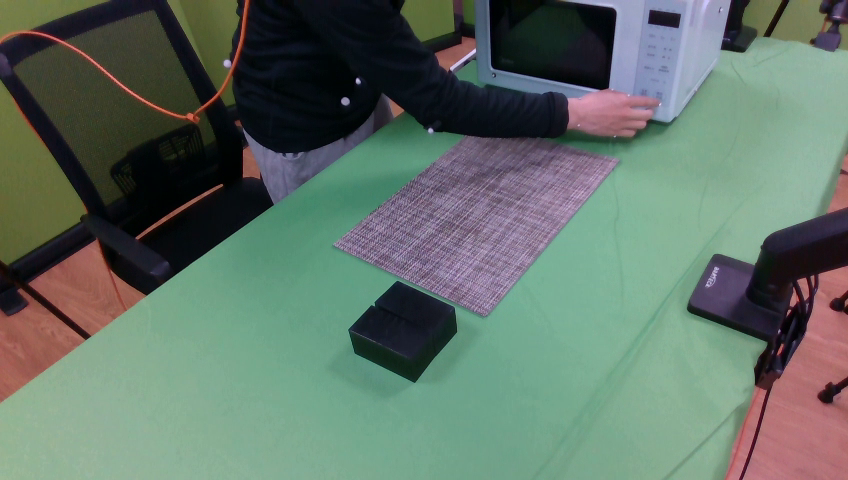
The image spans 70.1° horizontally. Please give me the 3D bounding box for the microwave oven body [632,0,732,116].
[{"bbox_3d":[0.377,-0.463,1.267,0.438,0.261,0.327,21,49,30],"label":"microwave oven body"}]

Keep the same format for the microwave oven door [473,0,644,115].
[{"bbox_3d":[0.257,-0.396,1.199,0.353,0.245,0.039,21,48,29],"label":"microwave oven door"}]

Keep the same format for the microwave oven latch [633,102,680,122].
[{"bbox_3d":[0.443,-0.250,1.157,0.078,0.029,0.030,22,49,31],"label":"microwave oven latch"}]
